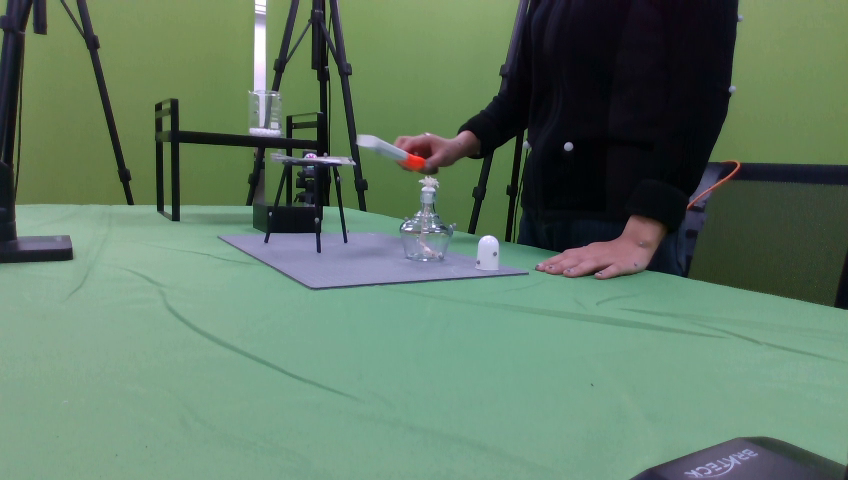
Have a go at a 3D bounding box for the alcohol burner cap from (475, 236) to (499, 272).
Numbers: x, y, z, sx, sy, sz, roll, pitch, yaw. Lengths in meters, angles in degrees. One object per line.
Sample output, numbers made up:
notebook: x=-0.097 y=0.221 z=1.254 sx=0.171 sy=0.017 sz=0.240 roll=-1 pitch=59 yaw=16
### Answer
alcohol burner cap: x=0.084 y=0.018 z=0.799 sx=0.034 sy=0.048 sz=0.034 roll=2 pitch=6 yaw=0

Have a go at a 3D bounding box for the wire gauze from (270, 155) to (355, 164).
wire gauze: x=-0.174 y=-0.123 z=0.925 sx=0.125 sy=0.011 sz=0.121 roll=0 pitch=8 yaw=-12

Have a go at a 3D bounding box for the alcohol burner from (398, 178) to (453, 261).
alcohol burner: x=0.004 y=-0.029 z=0.860 sx=0.078 sy=0.119 sz=0.078 roll=4 pitch=7 yaw=0

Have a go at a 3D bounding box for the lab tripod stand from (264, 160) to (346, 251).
lab tripod stand: x=-0.177 y=-0.056 z=0.930 sx=0.148 sy=0.131 sz=0.148 roll=1 pitch=9 yaw=0

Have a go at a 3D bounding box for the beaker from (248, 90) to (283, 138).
beaker: x=-0.354 y=-0.278 z=1.340 sx=0.074 sy=0.100 sz=0.084 roll=6 pitch=9 yaw=26

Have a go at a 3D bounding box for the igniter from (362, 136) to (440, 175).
igniter: x=-0.033 y=-0.145 z=1.060 sx=0.057 sy=0.025 sz=0.277 roll=9 pitch=0 yaw=21
